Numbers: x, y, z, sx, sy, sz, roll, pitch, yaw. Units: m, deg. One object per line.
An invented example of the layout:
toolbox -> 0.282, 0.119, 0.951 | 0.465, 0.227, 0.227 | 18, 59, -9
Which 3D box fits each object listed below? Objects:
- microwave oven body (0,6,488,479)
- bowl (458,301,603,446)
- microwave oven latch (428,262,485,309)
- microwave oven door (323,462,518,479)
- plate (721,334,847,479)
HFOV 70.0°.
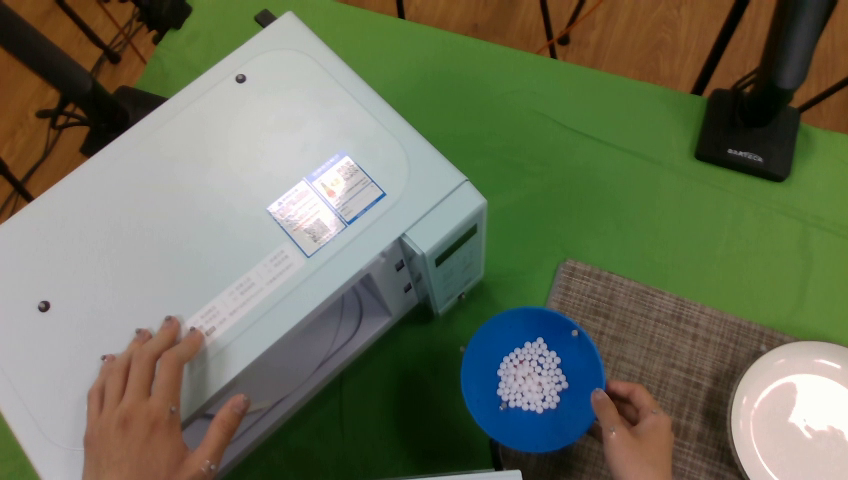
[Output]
microwave oven body -> -0.198, 0.029, 0.667 | 0.441, 0.262, 0.324 | -41, 73, -10
bowl -> 0.114, 0.148, 0.666 | 0.151, 0.077, 0.150 | -1, 73, 5
microwave oven latch -> 0.040, 0.049, 0.745 | 0.079, 0.030, 0.030 | -39, 72, -9
microwave oven door -> -0.091, 0.245, 0.576 | 0.356, 0.245, 0.039 | -6, 69, 2
plate -> 0.435, 0.210, 0.674 | 0.207, 0.039, 0.206 | -1, 70, 4
